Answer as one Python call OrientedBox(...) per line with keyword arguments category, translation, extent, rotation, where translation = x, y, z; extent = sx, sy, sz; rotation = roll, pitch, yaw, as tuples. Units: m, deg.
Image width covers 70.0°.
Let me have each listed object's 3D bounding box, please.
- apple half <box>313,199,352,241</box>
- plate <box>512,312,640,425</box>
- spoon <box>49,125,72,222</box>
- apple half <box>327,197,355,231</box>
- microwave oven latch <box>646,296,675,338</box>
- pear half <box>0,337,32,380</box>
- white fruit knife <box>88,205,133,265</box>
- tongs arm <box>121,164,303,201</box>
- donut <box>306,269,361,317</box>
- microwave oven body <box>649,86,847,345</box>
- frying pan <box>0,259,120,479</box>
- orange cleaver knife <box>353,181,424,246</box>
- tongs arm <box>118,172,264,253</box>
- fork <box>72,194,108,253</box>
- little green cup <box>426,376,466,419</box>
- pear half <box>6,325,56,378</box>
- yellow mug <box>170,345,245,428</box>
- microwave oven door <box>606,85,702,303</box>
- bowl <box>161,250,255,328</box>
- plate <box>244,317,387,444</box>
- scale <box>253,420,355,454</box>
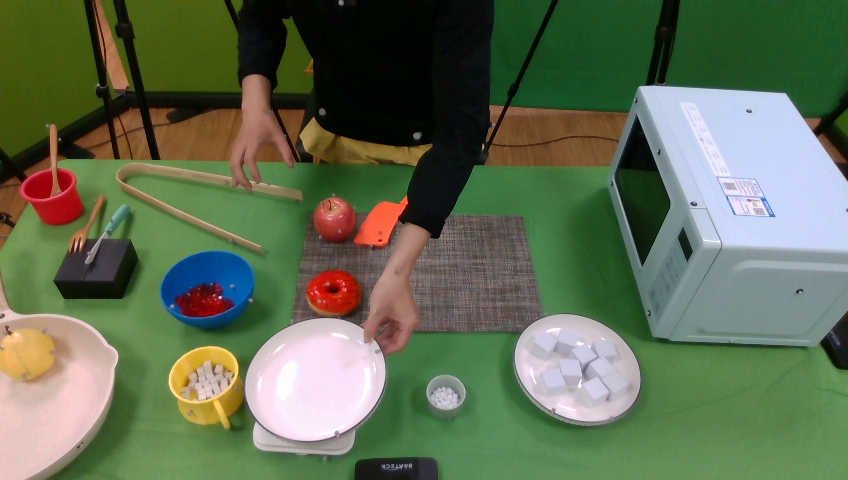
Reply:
OrientedBox(category="apple half", translation=(-0.184, -0.033, 1.176), extent=(0.080, 0.075, 0.053), rotation=(36, 57, 23))
OrientedBox(category="plate", translation=(0.246, 0.213, 0.999), extent=(0.208, 0.039, 0.206), rotation=(2, 46, -2))
OrientedBox(category="spoon", translation=(-0.718, -0.131, 1.189), extent=(0.041, 0.021, 0.193), rotation=(-4, 90, -6))
OrientedBox(category="apple half", translation=(-0.159, -0.054, 1.196), extent=(0.081, 0.082, 0.033), rotation=(34, 58, 26))
OrientedBox(category="microwave oven latch", translation=(0.412, 0.134, 1.061), extent=(0.030, 0.029, 0.078), rotation=(4, 45, 1))
OrientedBox(category="pear half", translation=(-0.631, 0.184, 0.921), extent=(0.070, 0.088, 0.031), rotation=(29, 49, 19))
OrientedBox(category="white fruit knife", translation=(-0.584, -0.013, 1.129), extent=(0.016, 0.027, 0.206), rotation=(0, 31, -5))
OrientedBox(category="tongs arm", translation=(-0.444, -0.114, 1.267), extent=(0.384, 0.026, 0.050), rotation=(12, 50, 8))
OrientedBox(category="donut", translation=(-0.160, 0.094, 1.075), extent=(0.099, 0.048, 0.098), rotation=(3, 46, -3))
OrientedBox(category="microwave oven body", translation=(0.568, -0.053, 1.118), extent=(0.326, 0.261, 0.439), rotation=(2, 45, -1))
OrientedBox(category="frying pan", translation=(-0.647, 0.164, 0.936), extent=(0.307, 0.103, 0.485), rotation=(-19, 58, -22))
OrientedBox(category="orange cleaver knife", translation=(-0.070, -0.059, 1.245), extent=(0.077, 0.012, 0.210), rotation=(18, 50, 21))
OrientedBox(category="tongs arm", translation=(-0.473, -0.055, 1.212), extent=(0.386, 0.028, 0.028), rotation=(23, 56, 18))
OrientedBox(category="fork", translation=(-0.634, -0.036, 1.158), extent=(0.028, 0.019, 0.206), rotation=(-8, 32, -8))
OrientedBox(category="little green cup", translation=(0.033, 0.248, 0.950), extent=(0.061, 0.039, 0.061), rotation=(2, 46, -2))
OrientedBox(category="pear half", translation=(-0.608, 0.158, 0.935), extent=(0.076, 0.110, 0.056), rotation=(31, 51, 20))
OrientedBox(category="yellow mug", translation=(-0.322, 0.230, 0.922), extent=(0.100, 0.064, 0.130), rotation=(-24, 53, -25))
OrientedBox(category="microwave oven door", translation=(0.422, -0.094, 1.140), extent=(0.039, 0.245, 0.353), rotation=(2, 46, -1))
OrientedBox(category="bowl", translation=(-0.362, 0.098, 1.039), extent=(0.151, 0.077, 0.150), rotation=(2, 45, -2))
OrientedBox(category="plate", translation=(-0.158, 0.208, 0.900), extent=(0.209, 0.038, 0.208), rotation=(0, 47, 0))
OrientedBox(category="scale", translation=(-0.175, 0.236, 0.951), extent=(0.149, 0.032, 0.199), rotation=(4, 45, 0))
